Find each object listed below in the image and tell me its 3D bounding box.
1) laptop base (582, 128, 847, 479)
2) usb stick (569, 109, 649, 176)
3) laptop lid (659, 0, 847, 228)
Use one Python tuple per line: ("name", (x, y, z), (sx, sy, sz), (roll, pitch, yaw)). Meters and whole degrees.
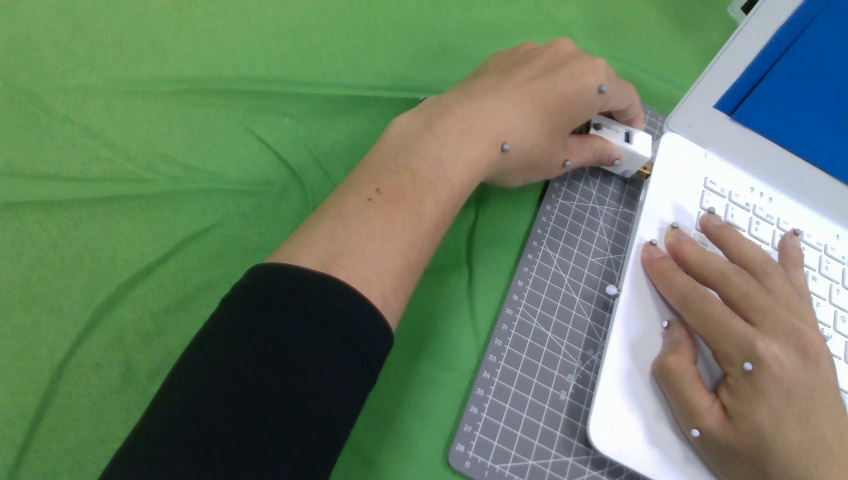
("laptop base", (0.274, 0.093, 0.383), (0.355, 0.023, 0.234), (27, 61, -5))
("usb stick", (0.125, -0.060, 0.392), (0.059, 0.027, 0.021), (21, 52, -14))
("laptop lid", (0.363, -0.079, 0.373), (0.357, 0.243, 0.013), (26, 37, -4))
